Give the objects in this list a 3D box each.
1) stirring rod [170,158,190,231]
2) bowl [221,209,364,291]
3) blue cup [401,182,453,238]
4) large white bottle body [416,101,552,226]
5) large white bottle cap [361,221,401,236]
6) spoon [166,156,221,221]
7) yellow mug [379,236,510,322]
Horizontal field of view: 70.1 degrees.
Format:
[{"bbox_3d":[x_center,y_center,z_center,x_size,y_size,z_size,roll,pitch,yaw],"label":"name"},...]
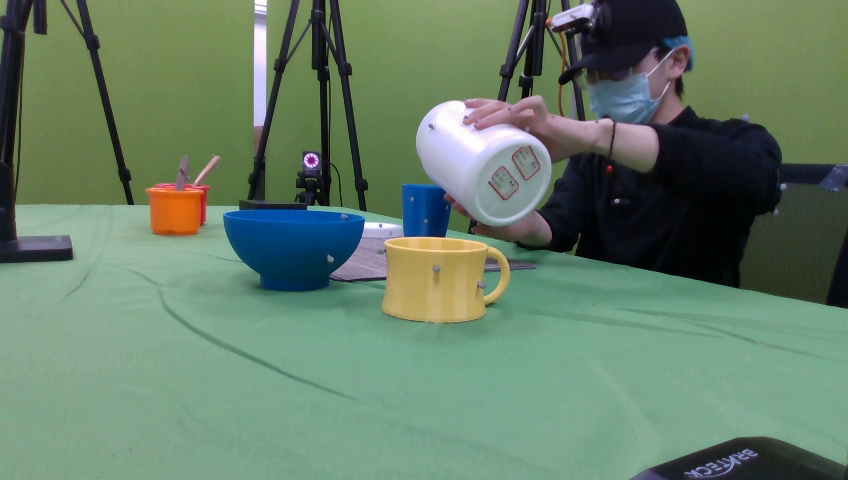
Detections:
[{"bbox_3d":[-0.426,-0.083,1.059,0.014,0.006,0.175,2,49,-13],"label":"stirring rod"},{"bbox_3d":[-0.142,0.011,0.660,0.151,0.077,0.151,2,7,0],"label":"bowl"},{"bbox_3d":[0.002,-0.038,0.966,0.093,0.100,0.092,4,9,0],"label":"blue cup"},{"bbox_3d":[0.074,-0.115,0.837,0.131,0.130,0.183,-2,29,-28],"label":"large white bottle body"},{"bbox_3d":[-0.099,-0.021,1.123,0.115,0.018,0.115,2,7,0],"label":"large white bottle cap"},{"bbox_3d":[-0.447,-0.104,1.191,0.041,0.022,0.193,7,52,14],"label":"spoon"},{"bbox_3d":[0.024,0.034,0.575,0.131,0.064,0.099,1,7,-22],"label":"yellow mug"}]
